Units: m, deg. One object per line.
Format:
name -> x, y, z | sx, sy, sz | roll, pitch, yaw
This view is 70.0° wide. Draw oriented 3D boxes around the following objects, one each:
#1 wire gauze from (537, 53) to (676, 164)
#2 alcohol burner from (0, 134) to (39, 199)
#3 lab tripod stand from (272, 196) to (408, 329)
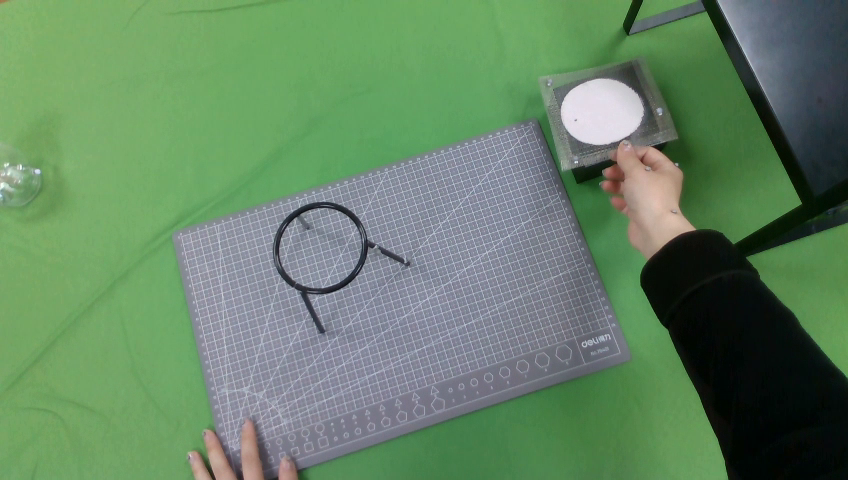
wire gauze -> 0.193, -0.146, 0.653 | 0.121, 0.011, 0.124 | -11, 63, 5
alcohol burner -> -0.495, -0.089, 0.680 | 0.078, 0.119, 0.077 | 0, 78, 3
lab tripod stand -> -0.097, 0.015, 0.625 | 0.148, 0.132, 0.147 | -1, 77, 5
